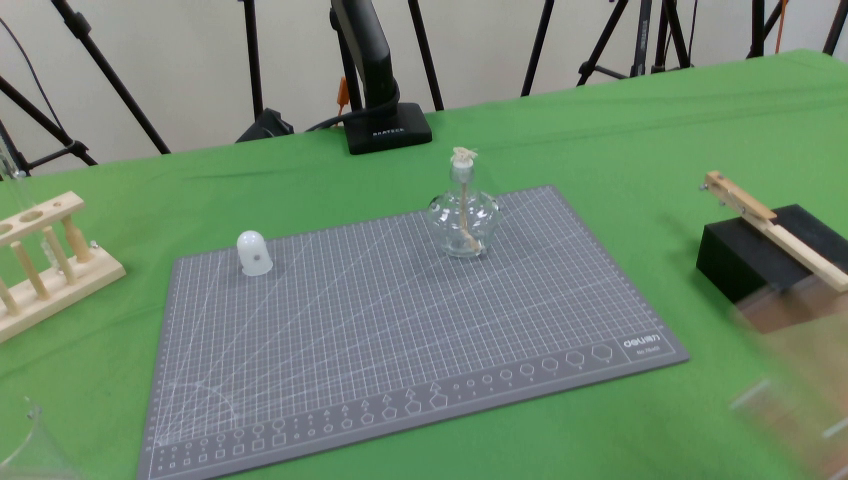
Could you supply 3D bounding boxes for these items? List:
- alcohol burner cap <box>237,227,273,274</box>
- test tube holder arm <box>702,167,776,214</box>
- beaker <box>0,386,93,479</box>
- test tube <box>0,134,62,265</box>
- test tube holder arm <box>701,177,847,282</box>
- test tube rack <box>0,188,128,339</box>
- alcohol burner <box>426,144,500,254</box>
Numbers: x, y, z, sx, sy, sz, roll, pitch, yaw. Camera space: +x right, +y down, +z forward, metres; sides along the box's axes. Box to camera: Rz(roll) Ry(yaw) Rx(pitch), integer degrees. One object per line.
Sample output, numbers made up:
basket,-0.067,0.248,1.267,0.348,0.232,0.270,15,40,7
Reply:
alcohol burner cap,-0.181,0.009,0.641,0.034,0.048,0.033,-4,37,3
test tube holder arm,0.302,-0.046,0.584,0.015,0.010,0.087,-12,37,-11
beaker,-0.279,0.160,0.409,0.084,0.101,0.073,-7,37,0
test tube,-0.401,-0.037,0.615,0.017,0.151,0.017,-6,33,4
test tube holder arm,0.314,-0.017,0.552,0.015,0.013,0.176,-12,36,-10
test tube rack,-0.434,0.046,0.592,0.066,0.086,0.242,27,47,35
alcohol burner,0.040,-0.046,0.624,0.078,0.120,0.077,-2,37,2
